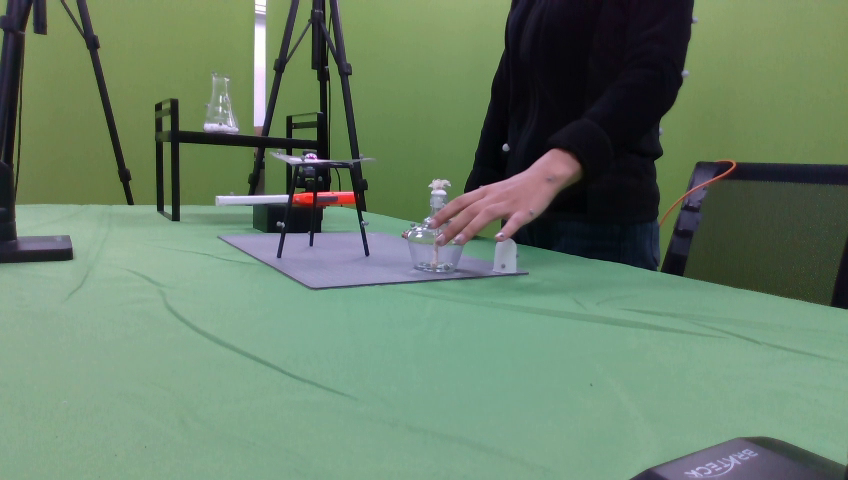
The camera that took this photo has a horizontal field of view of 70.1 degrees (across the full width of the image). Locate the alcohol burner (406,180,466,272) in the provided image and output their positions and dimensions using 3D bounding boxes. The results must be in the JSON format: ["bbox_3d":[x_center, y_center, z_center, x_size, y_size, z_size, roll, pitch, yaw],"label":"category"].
[{"bbox_3d":[0.016,-0.018,0.778,0.078,0.119,0.078,4,6,0],"label":"alcohol burner"}]

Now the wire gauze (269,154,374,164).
[{"bbox_3d":[-0.146,-0.114,0.860,0.122,0.011,0.124,-2,9,-28],"label":"wire gauze"}]

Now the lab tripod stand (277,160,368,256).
[{"bbox_3d":[-0.150,-0.046,0.861,0.148,0.131,0.148,3,9,0],"label":"lab tripod stand"}]

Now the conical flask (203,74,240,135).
[{"bbox_3d":[-0.425,-0.284,1.271,0.075,0.122,0.075,3,7,0],"label":"conical flask"}]

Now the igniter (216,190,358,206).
[{"bbox_3d":[-0.248,-0.079,1.142,0.278,0.025,0.057,-5,8,-31],"label":"igniter"}]

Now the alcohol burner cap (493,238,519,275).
[{"bbox_3d":[0.107,0.021,0.785,0.034,0.048,0.034,0,9,0],"label":"alcohol burner cap"}]
